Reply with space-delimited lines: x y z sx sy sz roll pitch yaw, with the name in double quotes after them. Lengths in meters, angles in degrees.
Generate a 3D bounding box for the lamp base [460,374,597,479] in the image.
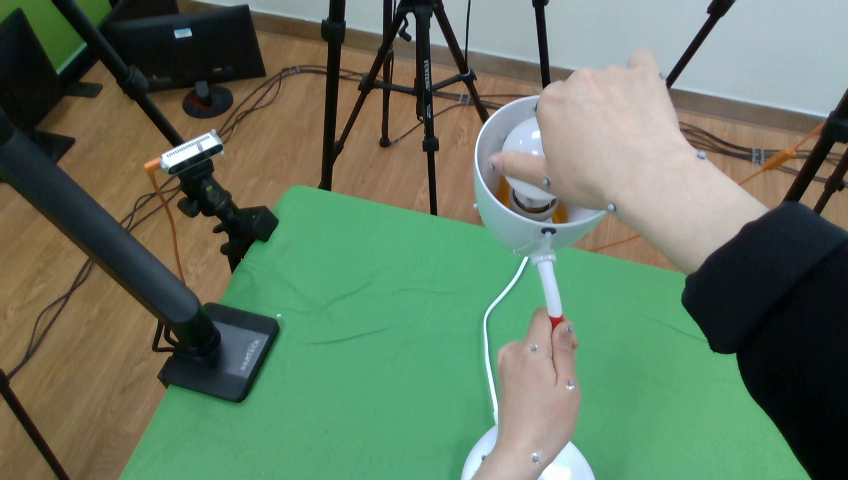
0.116 0.231 0.647 0.161 0.182 0.177 -21 55 -15 "lamp base"

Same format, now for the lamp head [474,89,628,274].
0.092 -0.037 0.482 0.112 0.124 0.111 0 61 0 "lamp head"

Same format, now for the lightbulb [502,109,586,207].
0.087 -0.054 0.458 0.059 0.108 0.059 -1 67 3 "lightbulb"
